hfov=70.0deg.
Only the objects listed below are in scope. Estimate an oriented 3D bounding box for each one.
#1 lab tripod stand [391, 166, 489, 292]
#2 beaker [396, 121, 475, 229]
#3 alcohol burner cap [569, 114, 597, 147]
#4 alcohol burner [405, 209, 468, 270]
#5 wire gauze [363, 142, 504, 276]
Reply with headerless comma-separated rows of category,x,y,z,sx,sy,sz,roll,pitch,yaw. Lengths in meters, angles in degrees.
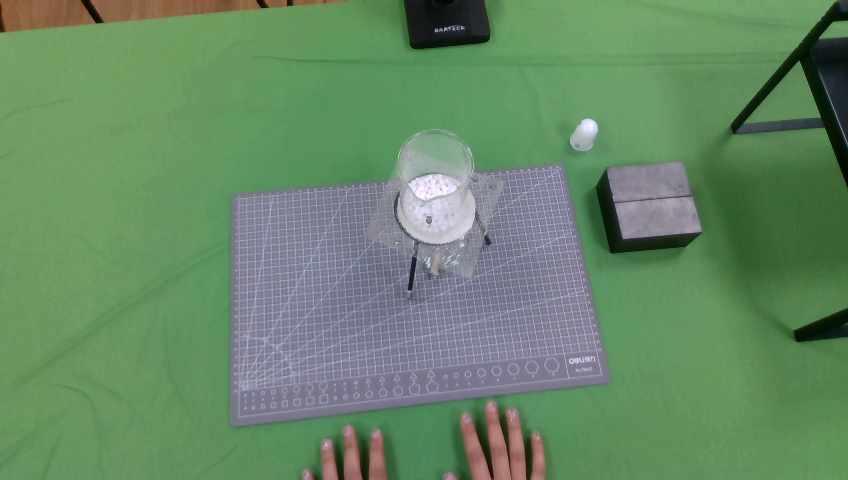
lab tripod stand,0.012,-0.021,0.720,0.148,0.132,0.147,1,68,-2
beaker,0.008,-0.058,0.612,0.074,0.101,0.083,18,70,6
alcohol burner cap,0.219,-0.151,0.825,0.034,0.048,0.033,0,69,0
alcohol burner,0.016,-0.007,0.726,0.078,0.120,0.077,1,71,-2
wire gauze,0.012,-0.038,0.657,0.125,0.011,0.121,22,72,4
